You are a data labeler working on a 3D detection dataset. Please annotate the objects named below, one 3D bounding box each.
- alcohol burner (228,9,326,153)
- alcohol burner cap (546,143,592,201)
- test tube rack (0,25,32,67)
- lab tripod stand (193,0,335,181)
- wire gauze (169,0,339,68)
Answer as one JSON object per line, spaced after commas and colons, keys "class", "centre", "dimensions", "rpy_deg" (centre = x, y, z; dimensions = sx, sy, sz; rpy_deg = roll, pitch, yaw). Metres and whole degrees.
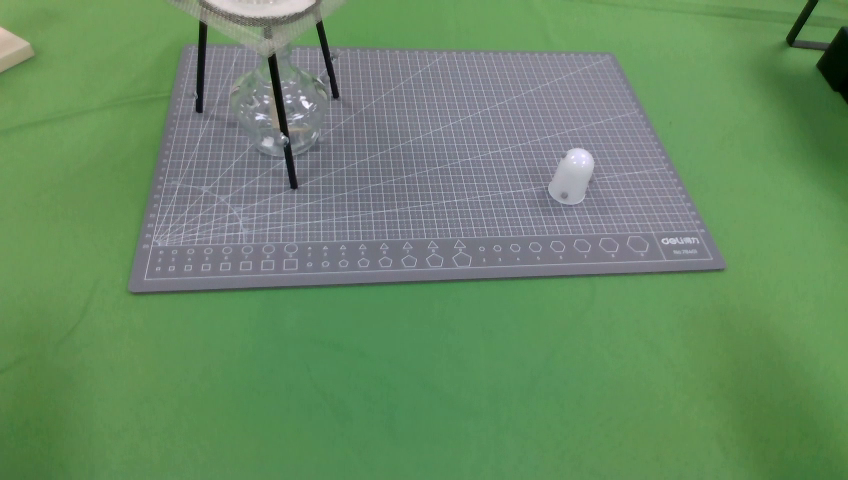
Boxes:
{"class": "alcohol burner", "centre": [-0.118, -0.129, 0.484], "dimensions": [0.078, 0.120, 0.077], "rpy_deg": [5, 49, -5]}
{"class": "alcohol burner cap", "centre": [0.123, -0.059, 0.506], "dimensions": [0.034, 0.048, 0.033], "rpy_deg": [4, 50, -4]}
{"class": "test tube rack", "centre": [-0.453, -0.142, 0.472], "dimensions": [0.066, 0.086, 0.241], "rpy_deg": [29, 53, 16]}
{"class": "lab tripod stand", "centre": [-0.123, -0.141, 0.480], "dimensions": [0.148, 0.132, 0.147], "rpy_deg": [5, 51, -6]}
{"class": "wire gauze", "centre": [-0.119, -0.182, 0.430], "dimensions": [0.124, 0.011, 0.121], "rpy_deg": [32, 57, 12]}
